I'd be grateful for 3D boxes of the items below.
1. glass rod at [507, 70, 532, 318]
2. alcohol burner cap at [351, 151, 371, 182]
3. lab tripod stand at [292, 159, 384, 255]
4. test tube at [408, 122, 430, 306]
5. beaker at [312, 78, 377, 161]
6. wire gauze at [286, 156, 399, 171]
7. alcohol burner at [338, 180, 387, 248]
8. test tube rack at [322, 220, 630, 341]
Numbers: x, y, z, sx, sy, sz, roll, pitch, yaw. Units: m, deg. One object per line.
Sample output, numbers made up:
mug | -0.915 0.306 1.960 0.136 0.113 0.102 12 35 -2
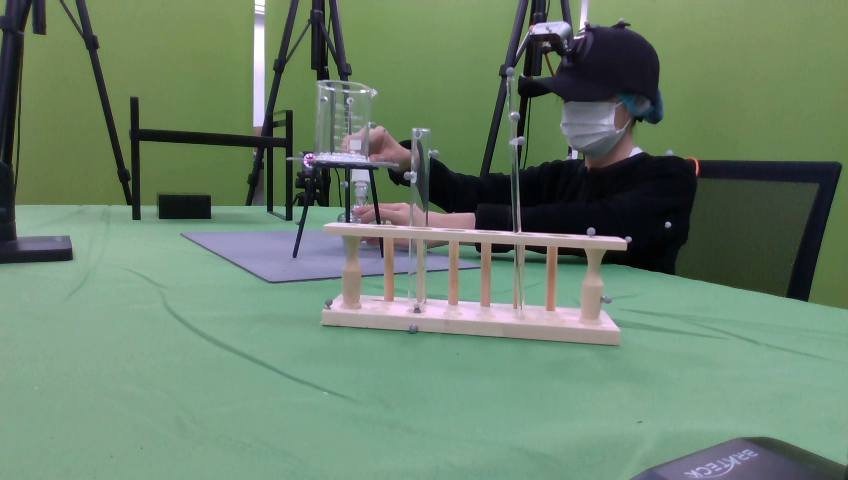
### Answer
glass rod | 0.076 -0.031 0.476 0.008 0.199 0.008 -6 12 2
alcohol burner cap | -0.098 -0.115 0.950 0.034 0.048 0.034 3 1 0
lab tripod stand | -0.105 -0.039 0.797 0.148 0.131 0.148 2 5 0
test tube | -0.004 -0.019 0.489 0.017 0.150 0.017 1 11 0
beaker | -0.103 -0.151 0.776 0.084 0.100 0.074 5 7 14
wire gauze | -0.101 -0.103 0.788 0.121 0.011 0.125 5 4 6
alcohol burner | -0.098 -0.049 0.954 0.078 0.119 0.078 0 7 0
test tube rack | 0.041 0.029 0.512 0.242 0.085 0.067 3 7 5
